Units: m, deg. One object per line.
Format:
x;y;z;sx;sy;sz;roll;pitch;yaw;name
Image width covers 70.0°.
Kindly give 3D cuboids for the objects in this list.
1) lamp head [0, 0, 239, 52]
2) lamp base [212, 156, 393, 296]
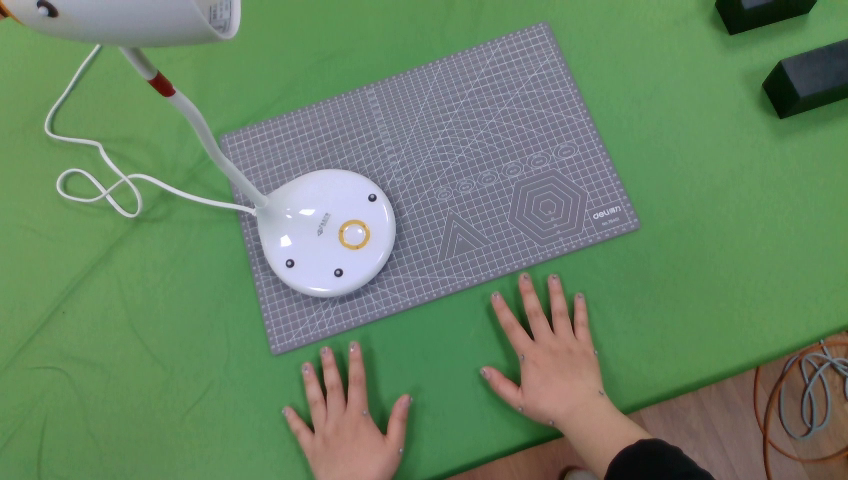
-0.182;-0.158;0.349;0.123;0.113;0.111;-12;72;9;lamp head
-0.138;-0.035;0.650;0.179;0.181;0.160;6;74;12;lamp base
